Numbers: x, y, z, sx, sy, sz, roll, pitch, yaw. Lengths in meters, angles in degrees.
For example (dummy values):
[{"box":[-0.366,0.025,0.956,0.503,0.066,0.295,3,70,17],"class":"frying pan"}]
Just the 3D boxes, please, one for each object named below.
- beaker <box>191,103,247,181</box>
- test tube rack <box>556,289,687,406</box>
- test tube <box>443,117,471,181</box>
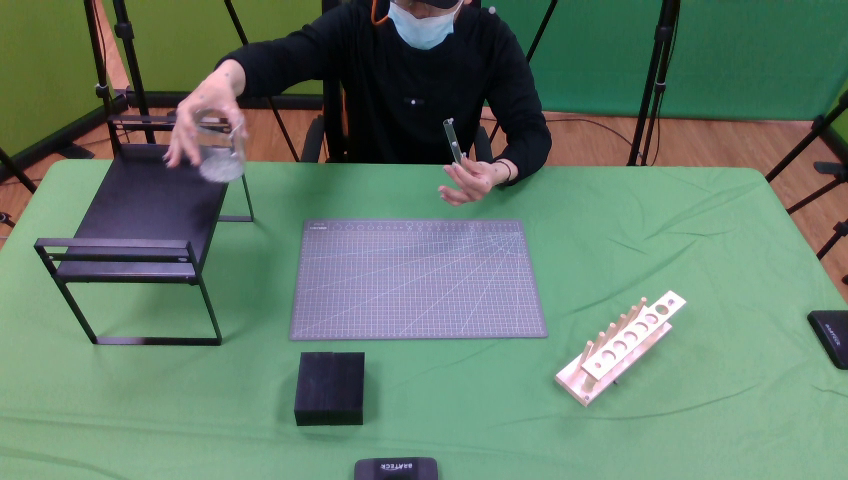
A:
[{"box":[-0.311,-0.146,0.934,0.074,0.101,0.083,-22,52,-31],"class":"beaker"},{"box":[0.332,0.165,1.014,0.242,0.085,0.066,-31,55,-28],"class":"test tube rack"},{"box":[0.062,-0.161,1.098,0.017,0.151,0.017,-11,48,13],"class":"test tube"}]
